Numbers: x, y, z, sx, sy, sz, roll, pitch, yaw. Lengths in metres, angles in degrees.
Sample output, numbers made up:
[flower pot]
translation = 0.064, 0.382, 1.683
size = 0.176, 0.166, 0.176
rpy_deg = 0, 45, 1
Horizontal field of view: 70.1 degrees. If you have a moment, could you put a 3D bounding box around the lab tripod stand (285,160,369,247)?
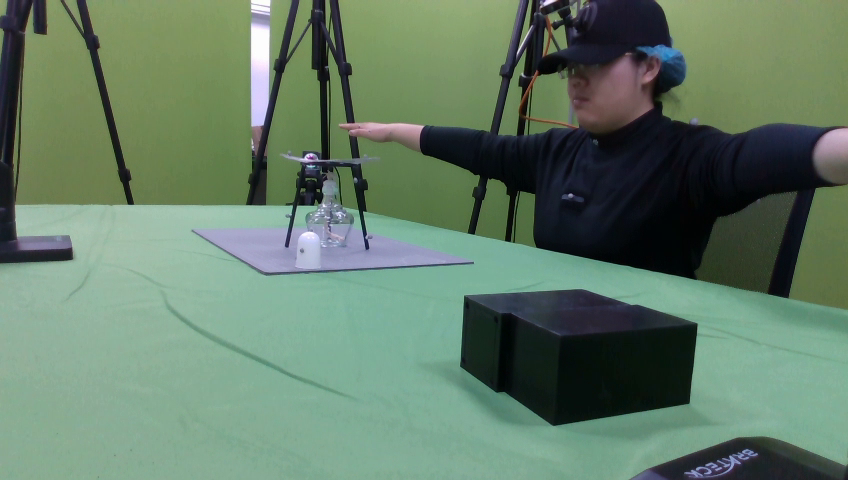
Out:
[lab tripod stand]
translation = -0.151, -0.058, 0.947
size = 0.148, 0.131, 0.148
rpy_deg = 1, 6, 0

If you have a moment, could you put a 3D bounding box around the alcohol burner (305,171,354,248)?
[alcohol burner]
translation = -0.148, -0.048, 0.949
size = 0.078, 0.119, 0.078
rpy_deg = 1, 6, 0

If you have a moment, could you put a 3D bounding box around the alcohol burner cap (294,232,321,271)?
[alcohol burner cap]
translation = -0.144, 0.013, 0.748
size = 0.034, 0.048, 0.034
rpy_deg = 3, 6, 0

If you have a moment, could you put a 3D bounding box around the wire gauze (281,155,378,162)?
[wire gauze]
translation = -0.147, -0.124, 0.936
size = 0.122, 0.011, 0.124
rpy_deg = -2, 7, -32
